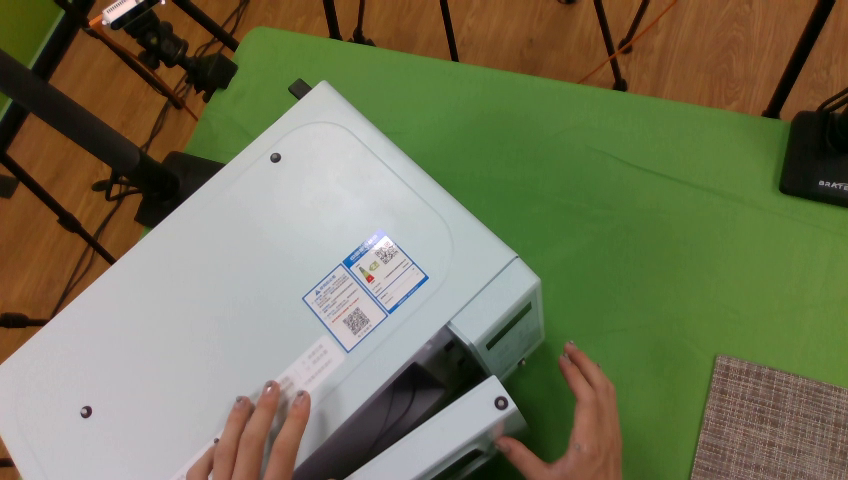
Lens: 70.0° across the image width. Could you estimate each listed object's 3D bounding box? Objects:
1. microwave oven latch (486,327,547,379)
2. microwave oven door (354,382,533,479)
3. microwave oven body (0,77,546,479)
[{"bbox_3d":[0.105,0.121,0.690,0.079,0.030,0.030,-42,68,-4],"label":"microwave oven latch"},{"bbox_3d":[-0.059,0.254,0.565,0.356,0.246,0.039,-34,65,-2],"label":"microwave oven door"},{"bbox_3d":[-0.141,0.113,0.640,0.441,0.262,0.323,-43,68,-5],"label":"microwave oven body"}]
